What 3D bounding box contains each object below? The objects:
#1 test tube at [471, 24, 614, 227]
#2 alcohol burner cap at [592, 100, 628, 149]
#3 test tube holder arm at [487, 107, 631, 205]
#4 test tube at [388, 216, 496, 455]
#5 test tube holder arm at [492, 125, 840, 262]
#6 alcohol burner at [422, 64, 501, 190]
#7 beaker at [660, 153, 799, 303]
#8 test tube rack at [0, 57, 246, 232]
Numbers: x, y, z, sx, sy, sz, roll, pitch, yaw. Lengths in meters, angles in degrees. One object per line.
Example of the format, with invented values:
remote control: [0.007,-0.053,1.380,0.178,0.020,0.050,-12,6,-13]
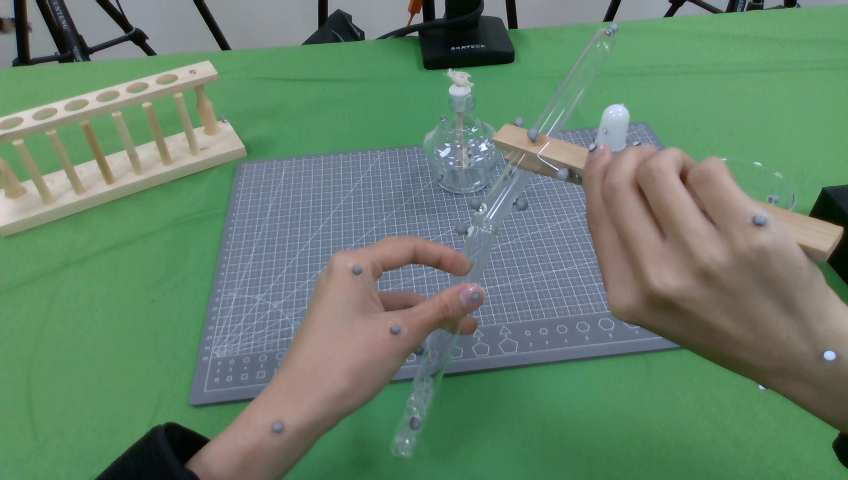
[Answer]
test tube: [0.071,-0.069,0.348,0.017,0.017,0.150,25,71,27]
alcohol burner cap: [0.195,-0.123,0.633,0.034,0.048,0.033,-1,44,2]
test tube holder arm: [0.071,-0.046,0.323,0.087,0.010,0.015,35,77,27]
test tube: [0.008,0.057,0.345,0.017,0.151,0.017,19,12,-4]
test tube holder arm: [0.100,-0.030,0.291,0.015,0.013,0.176,-48,45,-12]
alcohol burner: [0.035,-0.109,0.574,0.078,0.120,0.077,-3,42,3]
beaker: [0.226,-0.007,0.469,0.074,0.101,0.083,-27,48,-23]
test tube rack: [-0.315,-0.101,0.609,0.243,0.086,0.066,-23,47,-20]
